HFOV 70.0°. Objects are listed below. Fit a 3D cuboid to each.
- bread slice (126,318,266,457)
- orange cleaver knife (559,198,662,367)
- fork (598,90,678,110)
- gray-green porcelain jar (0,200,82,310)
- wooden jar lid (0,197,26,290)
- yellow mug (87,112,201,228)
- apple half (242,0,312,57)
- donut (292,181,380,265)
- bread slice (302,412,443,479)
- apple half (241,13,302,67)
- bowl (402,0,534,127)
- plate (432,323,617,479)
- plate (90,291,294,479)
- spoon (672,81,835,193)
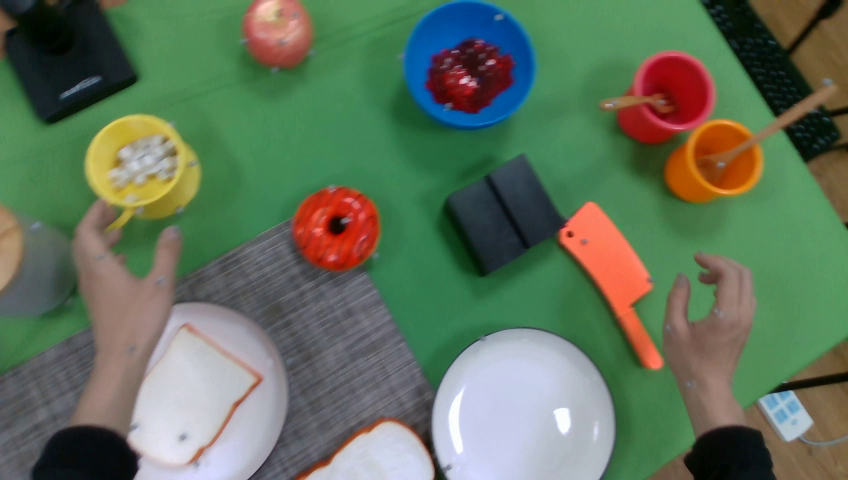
[{"bbox_3d":[-0.251,0.166,0.652,0.105,0.019,0.131,34,79,1],"label":"bread slice"},{"bbox_3d":[0.238,0.048,0.728,0.077,0.012,0.210,-28,83,-15],"label":"orange cleaver knife"},{"bbox_3d":[0.249,-0.161,0.697,0.208,0.018,0.028,-16,81,-49],"label":"fork"},{"bbox_3d":[-0.424,0.017,0.616,0.106,0.127,0.105,1,80,-5],"label":"gray-green porcelain jar"},{"bbox_3d":[-0.419,0.007,0.555,0.108,0.021,0.108,1,80,-4],"label":"wooden jar lid"},{"bbox_3d":[-0.316,-0.070,0.671,0.100,0.064,0.130,29,80,0],"label":"yellow mug"},{"bbox_3d":[-0.165,-0.255,0.710,0.081,0.075,0.053,26,74,3],"label":"apple half"},{"bbox_3d":[-0.099,-0.020,0.690,0.099,0.048,0.098,1,81,-6],"label":"donut"},{"bbox_3d":[-0.043,0.249,0.634,0.134,0.018,0.106,-36,82,-29],"label":"bread slice"},{"bbox_3d":[-0.181,-0.221,0.701,0.081,0.081,0.032,27,74,0],"label":"apple half"},{"bbox_3d":[0.047,-0.197,0.718,0.151,0.077,0.151,1,81,-5],"label":"bowl"},{"bbox_3d":[0.111,0.197,0.683,0.209,0.038,0.208,1,81,-5],"label":"plate"},{"bbox_3d":[-0.244,0.160,0.652,0.208,0.039,0.207,1,81,-5],"label":"plate"},{"bbox_3d":[0.376,-0.117,0.701,0.022,0.194,0.041,-22,77,-53],"label":"spoon"}]
